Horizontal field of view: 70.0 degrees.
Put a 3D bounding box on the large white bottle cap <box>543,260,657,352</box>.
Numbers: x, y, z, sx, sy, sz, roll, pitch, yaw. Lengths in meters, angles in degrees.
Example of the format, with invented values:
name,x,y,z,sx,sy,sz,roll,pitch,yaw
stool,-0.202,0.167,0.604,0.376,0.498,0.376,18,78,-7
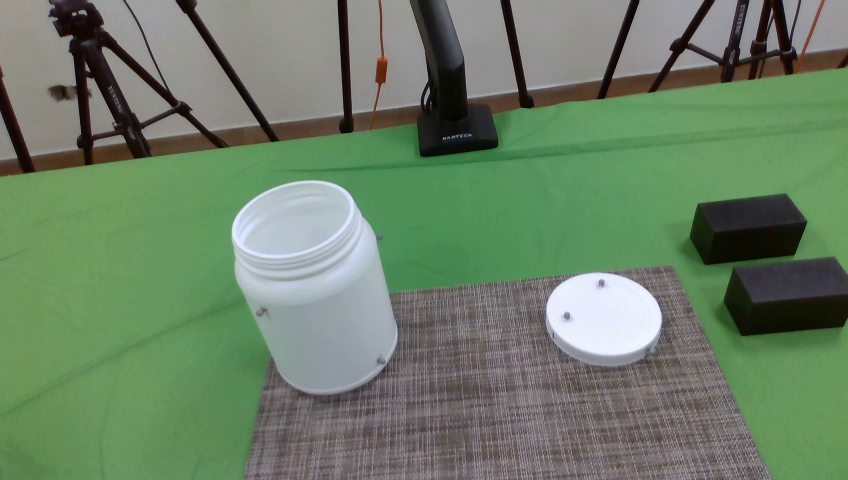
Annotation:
name,x,y,z,sx,sy,sz,roll,pitch,yaw
large white bottle cap,0.182,0.066,0.630,0.115,0.018,0.113,-4,43,4

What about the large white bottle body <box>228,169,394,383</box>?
name,x,y,z,sx,sy,sz,roll,pitch,yaw
large white bottle body,-0.106,0.036,0.587,0.130,0.186,0.129,-5,42,5
